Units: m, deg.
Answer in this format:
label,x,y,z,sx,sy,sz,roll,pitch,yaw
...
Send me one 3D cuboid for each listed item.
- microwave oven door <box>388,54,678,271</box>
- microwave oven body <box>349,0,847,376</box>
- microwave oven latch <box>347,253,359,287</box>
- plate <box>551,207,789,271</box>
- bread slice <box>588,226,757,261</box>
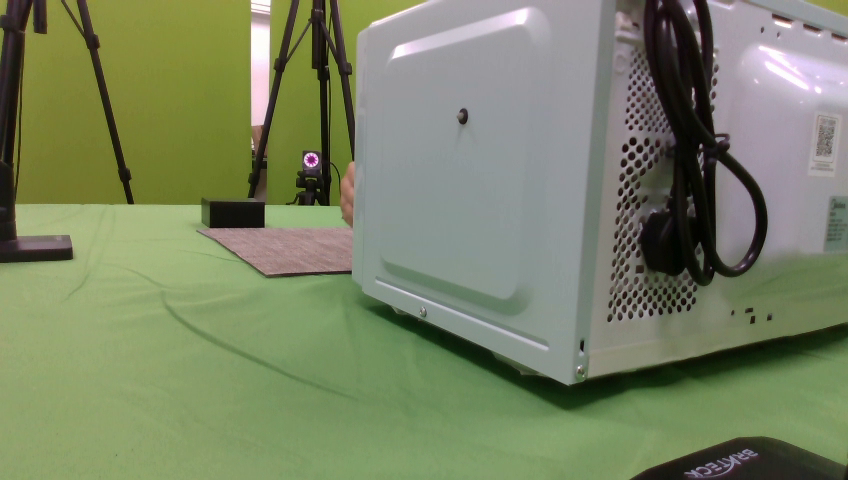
label,x,y,z,sx,sy,sz,roll,pitch,yaw
microwave oven door,0.138,-0.085,0.733,0.357,0.243,0.039,1,8,-15
microwave oven body,0.199,-0.053,0.540,0.444,0.260,0.324,-1,7,-32
microwave oven latch,-0.034,0.028,0.580,0.079,0.029,0.030,-1,7,-30
plate,0.224,-0.003,0.572,0.209,0.038,0.209,3,8,0
bread slice,0.225,0.002,0.569,0.132,0.019,0.104,5,4,-24
